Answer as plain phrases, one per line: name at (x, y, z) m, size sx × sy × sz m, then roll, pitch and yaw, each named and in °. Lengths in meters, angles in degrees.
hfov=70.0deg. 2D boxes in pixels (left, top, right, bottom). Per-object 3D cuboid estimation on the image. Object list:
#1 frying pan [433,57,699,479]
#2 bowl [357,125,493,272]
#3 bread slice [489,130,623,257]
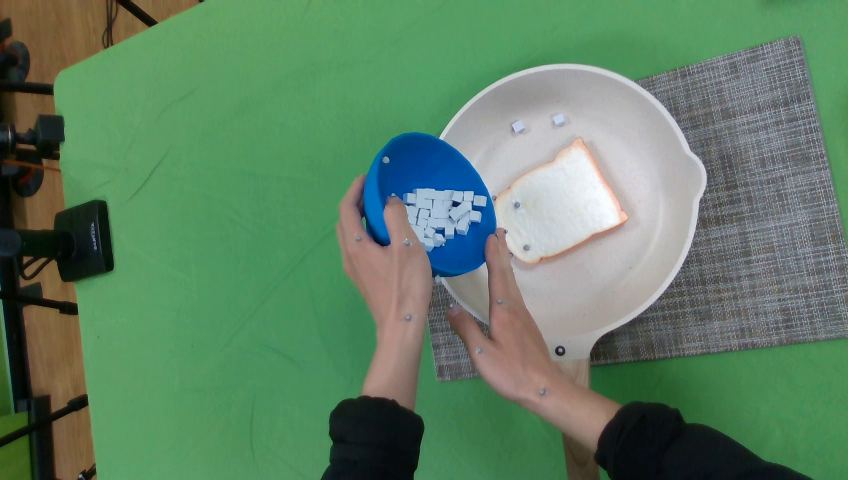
frying pan at (0.140, 0.056, 0.639) m, size 0.306 × 0.103 × 0.485 m, roll -8°, pitch 77°, yaw 24°
bowl at (-0.012, -0.029, 0.604) m, size 0.077 × 0.152 × 0.150 m, roll -30°, pitch 76°, yaw 44°
bread slice at (0.141, -0.042, 0.684) m, size 0.134 × 0.018 × 0.106 m, roll -34°, pitch 76°, yaw 16°
